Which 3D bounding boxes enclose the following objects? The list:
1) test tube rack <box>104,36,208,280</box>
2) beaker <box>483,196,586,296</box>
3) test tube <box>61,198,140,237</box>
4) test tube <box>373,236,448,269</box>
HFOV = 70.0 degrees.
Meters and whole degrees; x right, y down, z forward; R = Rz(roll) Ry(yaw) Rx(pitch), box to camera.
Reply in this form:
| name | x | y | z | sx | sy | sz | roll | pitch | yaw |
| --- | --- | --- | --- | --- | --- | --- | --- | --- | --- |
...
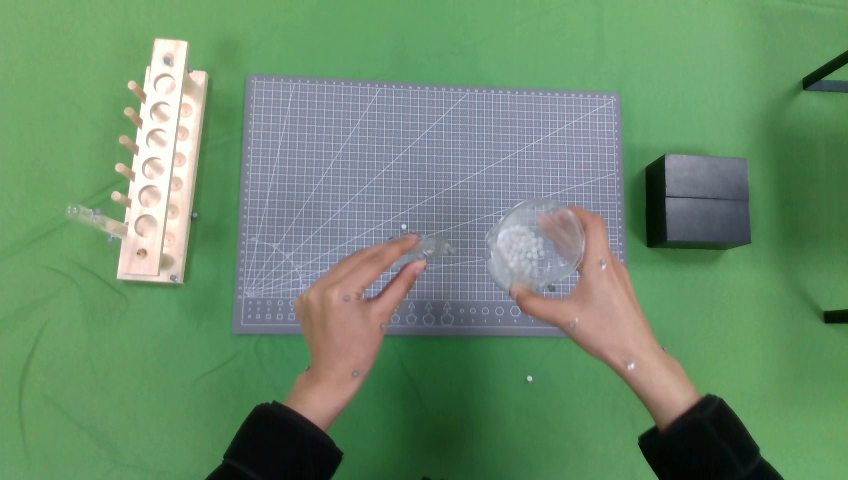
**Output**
| name | x | y | z | sx | sy | sz | roll | pitch | yaw |
| --- | --- | --- | --- | --- | --- | --- | --- | --- | --- |
| test tube rack | -0.287 | -0.083 | 0.641 | 0.067 | 0.085 | 0.241 | 5 | 81 | -5 |
| beaker | 0.091 | 0.010 | 0.547 | 0.084 | 0.100 | 0.073 | 6 | 77 | -1 |
| test tube | -0.308 | -0.018 | 0.583 | 0.017 | 0.150 | 0.017 | 1 | 81 | -6 |
| test tube | -0.017 | 0.013 | 0.549 | 0.017 | 0.150 | 0.017 | 3 | 81 | -23 |
